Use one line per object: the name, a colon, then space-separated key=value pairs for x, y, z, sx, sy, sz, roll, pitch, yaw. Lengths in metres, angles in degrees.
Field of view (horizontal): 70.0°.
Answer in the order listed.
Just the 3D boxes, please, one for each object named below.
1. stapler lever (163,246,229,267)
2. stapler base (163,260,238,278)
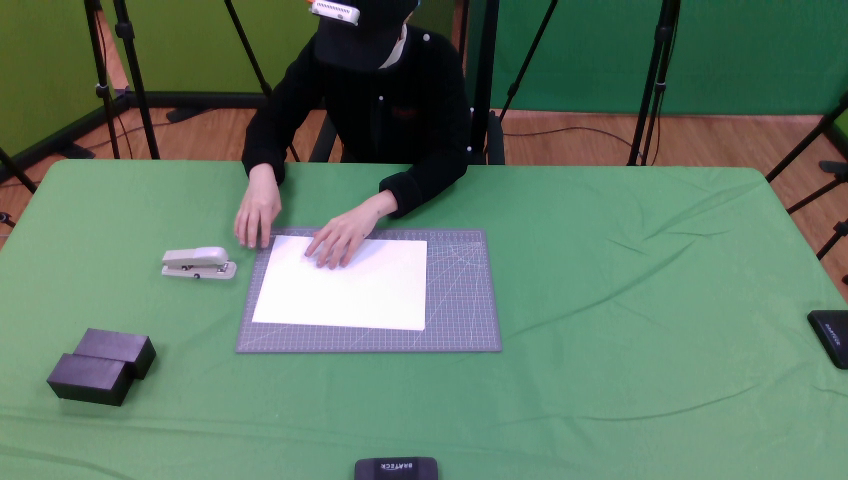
stapler lever: x=-0.415 y=0.029 z=1.103 sx=0.118 sy=0.040 sz=0.026 roll=3 pitch=43 yaw=0
stapler base: x=-0.415 y=0.046 z=1.120 sx=0.130 sy=0.024 sz=0.041 roll=2 pitch=43 yaw=0
